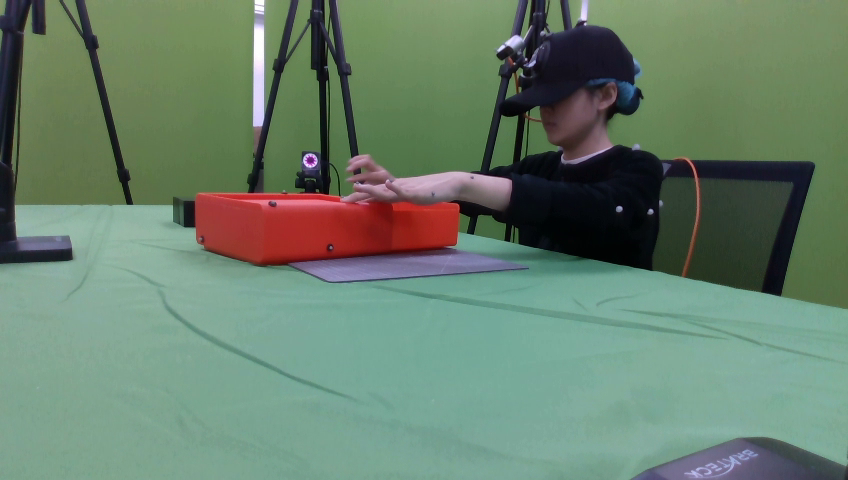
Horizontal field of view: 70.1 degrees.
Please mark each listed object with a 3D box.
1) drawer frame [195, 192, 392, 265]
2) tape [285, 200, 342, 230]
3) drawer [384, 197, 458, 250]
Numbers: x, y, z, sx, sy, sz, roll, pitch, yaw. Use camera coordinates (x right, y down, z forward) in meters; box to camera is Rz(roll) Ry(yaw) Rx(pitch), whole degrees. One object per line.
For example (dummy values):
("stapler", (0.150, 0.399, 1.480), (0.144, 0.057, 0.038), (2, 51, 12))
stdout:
("drawer frame", (-0.189, -0.024, 0.882), (0.215, 0.082, 0.200), (-5, 11, -44))
("tape", (-0.223, -0.051, 1.221), (0.117, 0.052, 0.117), (3, 7, 0))
("drawer", (-0.085, -0.029, 0.979), (0.213, 0.073, 0.193), (-3, 10, -42))
